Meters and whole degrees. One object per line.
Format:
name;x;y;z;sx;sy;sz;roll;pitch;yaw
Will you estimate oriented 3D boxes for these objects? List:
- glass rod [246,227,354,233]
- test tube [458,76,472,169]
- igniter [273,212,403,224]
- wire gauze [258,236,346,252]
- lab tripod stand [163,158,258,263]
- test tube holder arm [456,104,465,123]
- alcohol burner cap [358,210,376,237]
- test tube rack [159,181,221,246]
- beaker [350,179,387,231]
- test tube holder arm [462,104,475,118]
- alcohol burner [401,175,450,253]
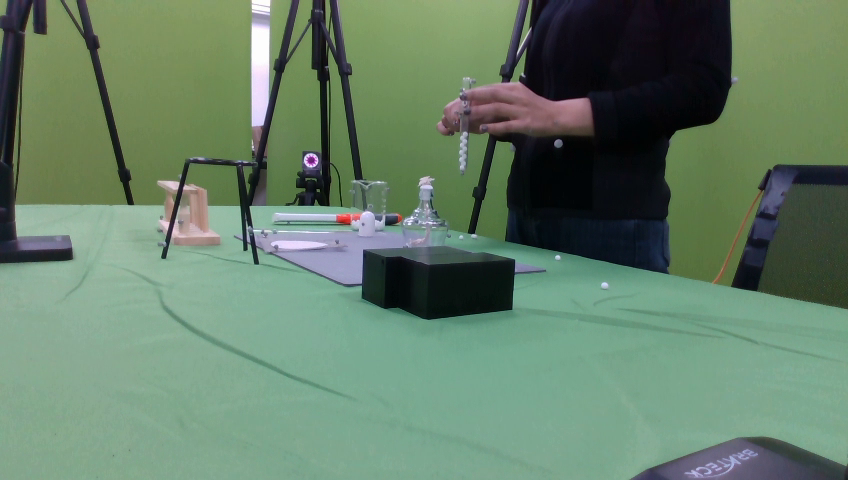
glass rod;-0.224;-0.017;1.109;0.201;0.008;0.008;1;7;-27
test tube;0.067;-0.190;0.983;0.017;0.150;0.017;2;4;0
igniter;-0.179;-0.048;1.290;0.278;0.025;0.057;-1;-2;-24
wire gauze;-0.189;0.005;0.931;0.122;0.011;0.124;1;7;-21
lab tripod stand;-0.265;-0.041;0.802;0.148;0.131;0.148;4;7;0
test tube holder arm;0.063;-0.219;1.049;0.013;0.015;0.178;7;6;-1
alcohol burner cap;-0.104;-0.030;1.098;0.034;0.048;0.034;3;7;0
test tube rack;-0.395;-0.050;1.010;0.067;0.085;0.241;-2;8;-28
beaker;-0.111;-0.069;1.204;0.074;0.100;0.084;2;8;0
test tube holder arm;0.071;-0.214;1.004;0.010;0.015;0.087;6;6;-7
alcohol burner;0.003;-0.040;0.933;0.078;0.119;0.078;2;9;0
